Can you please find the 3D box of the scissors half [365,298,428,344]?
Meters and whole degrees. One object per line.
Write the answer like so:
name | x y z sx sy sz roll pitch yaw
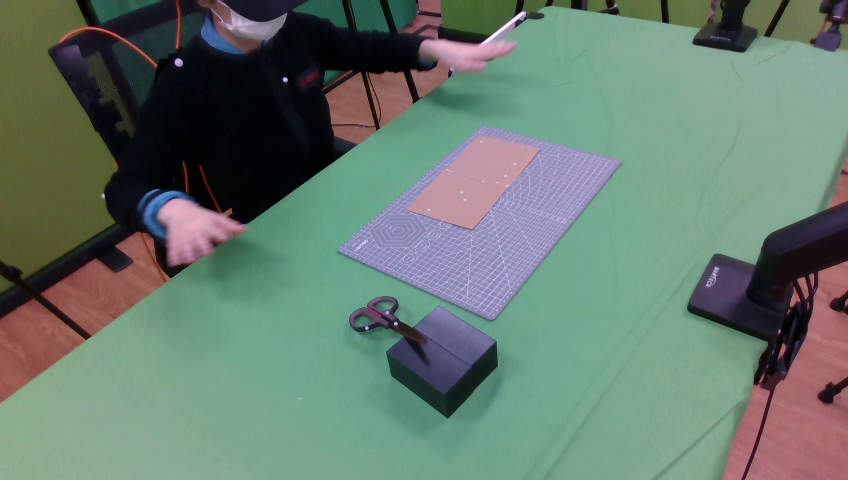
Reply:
scissors half | -0.035 0.107 0.808 0.040 0.013 0.174 -27 22 -18

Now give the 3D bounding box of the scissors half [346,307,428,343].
scissors half | -0.051 0.115 0.799 0.040 0.013 0.174 -29 23 -36

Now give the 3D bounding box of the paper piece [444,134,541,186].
paper piece | 0.130 -0.154 1.137 0.135 0.009 0.138 22 48 25

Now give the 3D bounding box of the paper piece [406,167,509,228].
paper piece | 0.059 -0.077 1.055 0.134 0.004 0.136 20 48 27
